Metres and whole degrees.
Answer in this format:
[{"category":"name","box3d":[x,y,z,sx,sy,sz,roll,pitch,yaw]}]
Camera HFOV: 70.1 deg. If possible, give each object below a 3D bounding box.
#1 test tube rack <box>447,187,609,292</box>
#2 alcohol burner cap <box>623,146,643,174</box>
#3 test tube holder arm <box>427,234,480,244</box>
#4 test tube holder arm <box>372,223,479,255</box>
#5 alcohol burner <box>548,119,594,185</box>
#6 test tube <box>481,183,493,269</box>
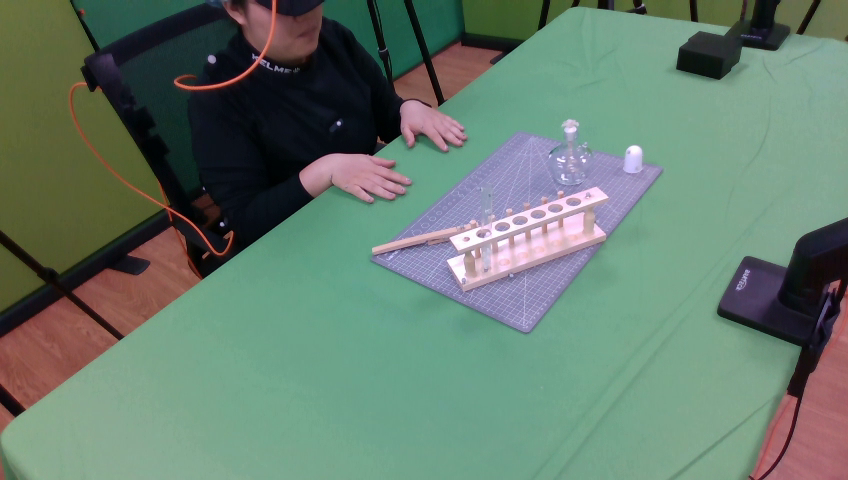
[{"category":"test tube rack","box3d":[0.154,-0.011,0.913,0.243,0.085,0.066,-19,41,-11]},{"category":"alcohol burner cap","box3d":[0.369,-0.142,1.061,0.034,0.048,0.033,-7,40,6]},{"category":"test tube holder arm","box3d":[0.048,-0.006,0.986,0.088,0.010,0.015,-7,34,-5]},{"category":"test tube holder arm","box3d":[0.003,-0.002,0.980,0.178,0.013,0.015,-12,34,-2]},{"category":"alcohol burner","box3d":[0.254,-0.155,1.043,0.078,0.120,0.077,-7,40,6]},{"category":"test tube","box3d":[0.089,-0.016,0.854,0.017,0.151,0.017,-2,39,2]}]
